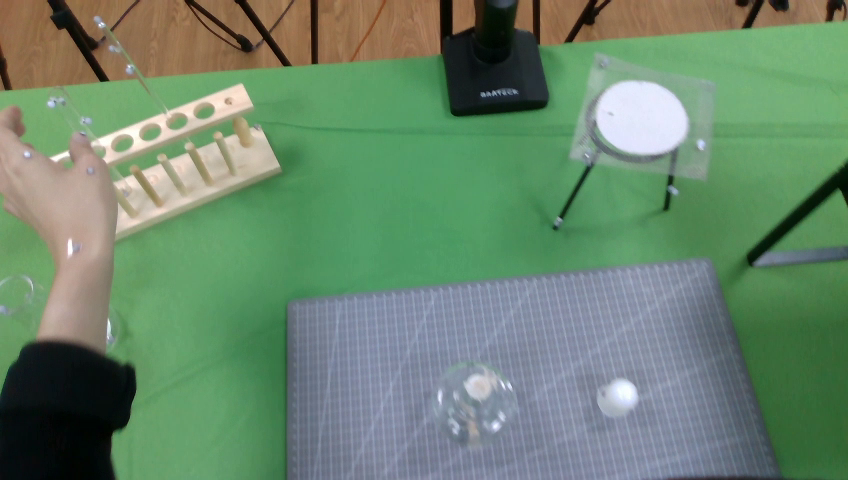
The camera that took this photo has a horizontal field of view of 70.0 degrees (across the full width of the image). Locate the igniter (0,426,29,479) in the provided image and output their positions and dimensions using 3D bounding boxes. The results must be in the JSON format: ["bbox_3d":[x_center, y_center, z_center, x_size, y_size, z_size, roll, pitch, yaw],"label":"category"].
[{"bbox_3d":[-0.415,0.276,0.468,0.057,0.025,0.275,20,65,20],"label":"igniter"}]

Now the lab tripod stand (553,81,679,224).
[{"bbox_3d":[0.200,-0.087,0.627,0.148,0.132,0.147,1,64,-1],"label":"lab tripod stand"}]

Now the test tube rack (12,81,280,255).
[{"bbox_3d":[-0.289,-0.077,0.652,0.242,0.086,0.066,-25,67,-11],"label":"test tube rack"}]

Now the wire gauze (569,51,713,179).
[{"bbox_3d":[0.207,-0.118,0.567,0.121,0.011,0.124,14,67,5],"label":"wire gauze"}]

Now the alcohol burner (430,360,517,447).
[{"bbox_3d":[0.045,0.139,0.531,0.078,0.120,0.077,1,63,-1],"label":"alcohol burner"}]

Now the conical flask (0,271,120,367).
[{"bbox_3d":[-0.347,0.068,0.564,0.075,0.123,0.074,0,64,1],"label":"conical flask"}]

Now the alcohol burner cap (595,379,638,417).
[{"bbox_3d":[0.182,0.146,0.566,0.034,0.048,0.033,0,65,0],"label":"alcohol burner cap"}]

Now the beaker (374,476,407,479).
[{"bbox_3d":[-0.026,0.240,0.492,0.074,0.101,0.083,22,67,11],"label":"beaker"}]

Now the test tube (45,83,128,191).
[{"bbox_3d":[-0.333,-0.098,0.607,0.017,0.151,0.017,0,58,0],"label":"test tube"}]

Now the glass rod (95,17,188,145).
[{"bbox_3d":[-0.270,-0.140,0.608,0.008,0.201,0.008,-4,59,6],"label":"glass rod"}]
